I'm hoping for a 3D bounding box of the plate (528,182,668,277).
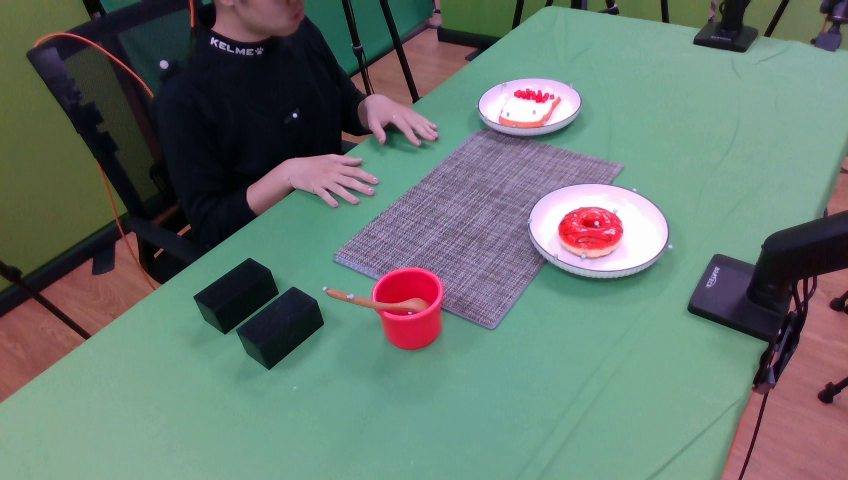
[{"bbox_3d":[0.264,-0.014,0.933,0.207,0.039,0.206,-3,42,3],"label":"plate"}]

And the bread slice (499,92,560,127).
[{"bbox_3d":[0.214,-0.268,1.243,0.104,0.019,0.131,12,43,21],"label":"bread slice"}]

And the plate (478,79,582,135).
[{"bbox_3d":[0.216,-0.268,1.239,0.209,0.038,0.208,-4,40,4],"label":"plate"}]

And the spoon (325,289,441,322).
[{"bbox_3d":[-0.047,0.084,0.776,0.195,0.021,0.041,12,27,-42],"label":"spoon"}]

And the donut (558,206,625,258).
[{"bbox_3d":[0.254,-0.015,0.917,0.099,0.048,0.098,-5,41,5],"label":"donut"}]
